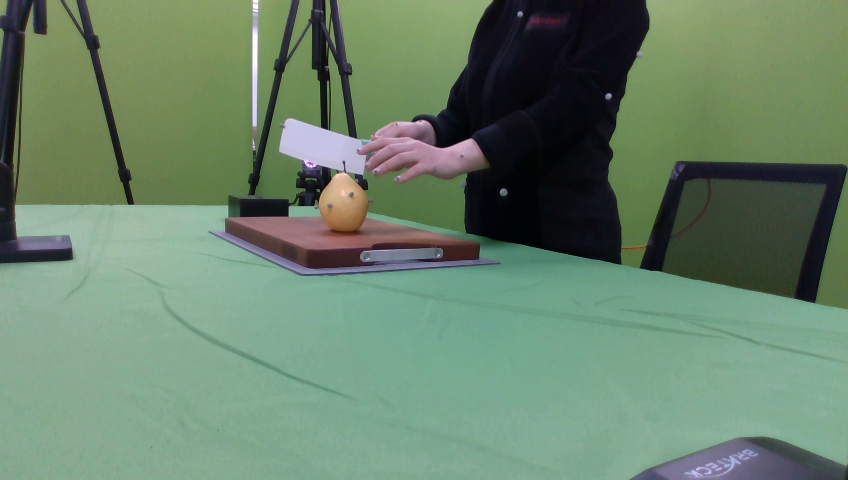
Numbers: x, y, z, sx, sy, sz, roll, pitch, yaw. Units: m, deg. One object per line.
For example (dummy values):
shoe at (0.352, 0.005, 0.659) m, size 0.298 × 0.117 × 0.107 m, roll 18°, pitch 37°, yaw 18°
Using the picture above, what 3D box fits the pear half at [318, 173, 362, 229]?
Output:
pear half at (-0.136, -0.062, 0.959) m, size 0.071 × 0.088 × 0.031 m, roll -8°, pitch 11°, yaw -29°

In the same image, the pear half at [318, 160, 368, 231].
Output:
pear half at (-0.120, -0.067, 0.927) m, size 0.077 × 0.110 × 0.055 m, roll -7°, pitch 11°, yaw -29°

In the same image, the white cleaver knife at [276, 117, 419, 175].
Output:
white cleaver knife at (-0.118, -0.143, 1.006) m, size 0.288 × 0.066 × 0.021 m, roll 7°, pitch 1°, yaw -43°
